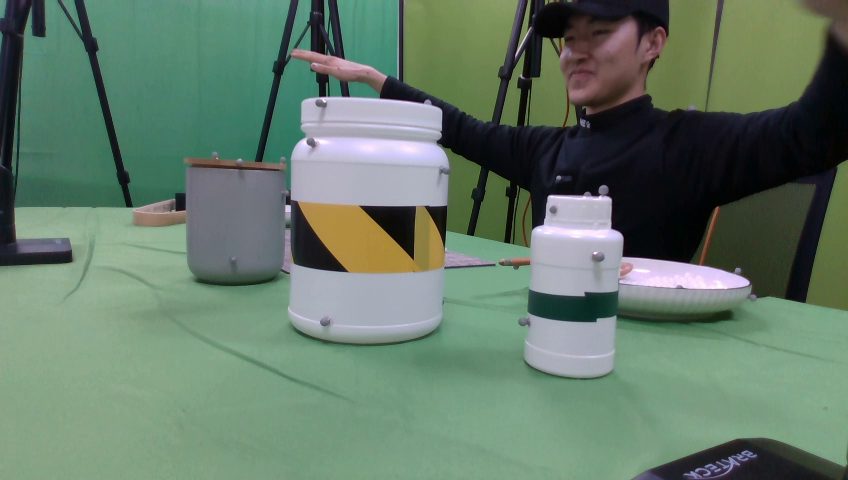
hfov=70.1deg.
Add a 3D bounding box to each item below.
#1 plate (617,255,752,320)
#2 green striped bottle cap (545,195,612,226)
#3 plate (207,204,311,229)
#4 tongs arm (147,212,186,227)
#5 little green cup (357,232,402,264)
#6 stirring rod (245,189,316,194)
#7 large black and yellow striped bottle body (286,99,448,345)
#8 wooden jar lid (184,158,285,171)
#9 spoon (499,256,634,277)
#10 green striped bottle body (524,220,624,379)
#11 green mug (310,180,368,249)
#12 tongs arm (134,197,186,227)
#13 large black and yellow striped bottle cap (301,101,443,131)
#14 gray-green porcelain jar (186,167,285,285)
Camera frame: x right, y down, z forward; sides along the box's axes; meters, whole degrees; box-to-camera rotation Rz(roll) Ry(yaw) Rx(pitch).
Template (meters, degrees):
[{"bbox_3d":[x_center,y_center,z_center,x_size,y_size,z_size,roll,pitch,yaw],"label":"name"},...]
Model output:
[{"bbox_3d":[0.234,0.049,0.651,0.209,0.038,0.209,2,7,0],"label":"plate"},{"bbox_3d":[0.106,-0.020,0.414,0.044,0.020,0.044,2,4,0],"label":"green striped bottle cap"},{"bbox_3d":[-0.342,-0.050,1.259,0.208,0.039,0.207,2,7,0],"label":"plate"},{"bbox_3d":[-0.478,-0.059,1.321,0.028,0.028,0.388,12,9,7],"label":"tongs arm"},{"bbox_3d":[-0.061,0.011,0.825,0.061,0.038,0.061,1,6,0],"label":"little green cup"},{"bbox_3d":[-0.351,-0.120,1.490,0.177,0.014,0.006,-2,5,-29],"label":"stirring rod"},{"bbox_3d":[-0.047,-0.018,0.501,0.131,0.184,0.130,2,7,0],"label":"large black and yellow striped bottle body"},{"bbox_3d":[-0.210,-0.078,0.674,0.108,0.020,0.108,5,6,0],"label":"wooden jar lid"},{"bbox_3d":[0.162,0.027,0.679,0.195,0.021,0.041,8,2,-30],"label":"spoon"},{"bbox_3d":[0.104,0.030,0.422,0.063,0.119,0.063,2,8,0],"label":"green striped bottle body"},{"bbox_3d":[-0.131,-0.044,0.981,0.092,0.105,0.125,4,8,14],"label":"green mug"},{"bbox_3d":[-0.556,-0.067,1.320,0.051,0.026,0.384,7,7,-5],"label":"tongs arm"},{"bbox_3d":[-0.042,-0.100,0.491,0.115,0.019,0.115,1,8,0],"label":"large black and yellow striped bottle cap"},{"bbox_3d":[-0.212,-0.017,0.682,0.106,0.126,0.106,2,7,0],"label":"gray-green porcelain jar"}]
